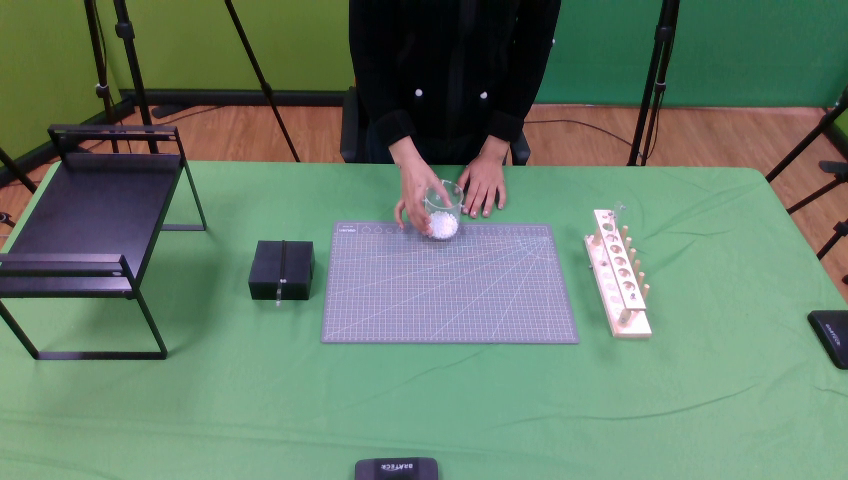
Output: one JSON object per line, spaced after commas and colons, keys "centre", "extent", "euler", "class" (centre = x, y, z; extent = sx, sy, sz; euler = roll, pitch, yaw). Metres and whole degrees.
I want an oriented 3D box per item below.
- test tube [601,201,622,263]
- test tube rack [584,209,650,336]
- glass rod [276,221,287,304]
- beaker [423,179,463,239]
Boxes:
{"centre": [0.346, -0.012, 1.123], "extent": [0.017, 0.151, 0.017], "euler": [-2, 44, 2], "class": "test tube"}
{"centre": [0.365, 0.056, 1.129], "extent": [0.067, 0.085, 0.240], "euler": [1, 46, -3], "class": "test tube rack"}
{"centre": [-0.255, 0.036, 1.086], "extent": [0.008, 0.008, 0.198], "euler": [-2, 46, -6], "class": "glass rod"}
{"centre": [0.035, -0.058, 1.180], "extent": [0.074, 0.101, 0.083], "euler": [0, 51, -3], "class": "beaker"}
